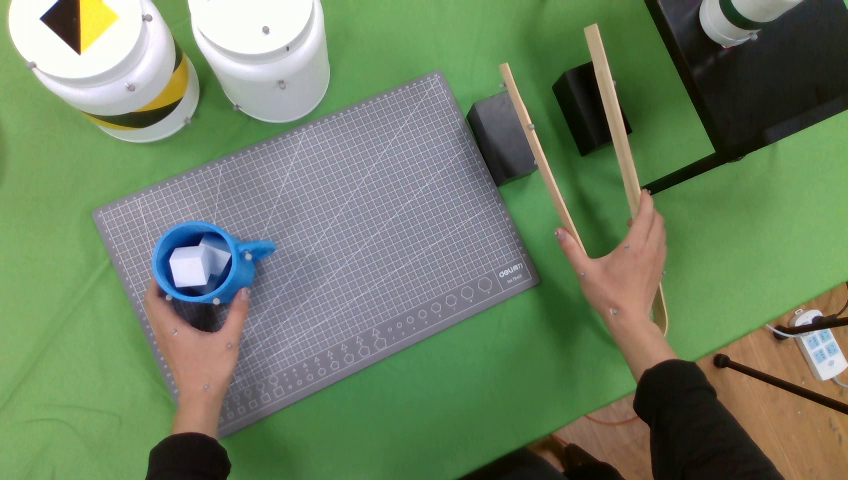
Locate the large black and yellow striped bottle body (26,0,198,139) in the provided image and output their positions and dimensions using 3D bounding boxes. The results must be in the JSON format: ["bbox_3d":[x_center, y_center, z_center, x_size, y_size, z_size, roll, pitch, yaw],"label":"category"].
[{"bbox_3d":[-0.325,-0.192,0.633,0.131,0.184,0.130,1,83,-7],"label":"large black and yellow striped bottle body"}]

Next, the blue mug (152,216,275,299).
[{"bbox_3d":[-0.221,0.018,0.662,0.117,0.106,0.082,-17,86,-9],"label":"blue mug"}]

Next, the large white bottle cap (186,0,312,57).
[{"bbox_3d":[-0.164,-0.231,0.571,0.115,0.018,0.114,1,84,-7],"label":"large white bottle cap"}]

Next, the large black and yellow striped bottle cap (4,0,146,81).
[{"bbox_3d":[-0.316,-0.203,0.551,0.115,0.019,0.114,1,85,-8],"label":"large black and yellow striped bottle cap"}]

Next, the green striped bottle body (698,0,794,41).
[{"bbox_3d":[0.317,-0.242,0.568,0.063,0.119,0.063,1,83,-7],"label":"green striped bottle body"}]

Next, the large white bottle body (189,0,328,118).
[{"bbox_3d":[-0.174,-0.220,0.654,0.131,0.184,0.130,1,84,-7],"label":"large white bottle body"}]

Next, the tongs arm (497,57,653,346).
[{"bbox_3d":[0.180,-0.036,0.704,0.051,0.026,0.386,-28,104,-12],"label":"tongs arm"}]

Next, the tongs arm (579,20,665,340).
[{"bbox_3d":[0.235,-0.062,0.715,0.028,0.027,0.389,-22,103,-17],"label":"tongs arm"}]
